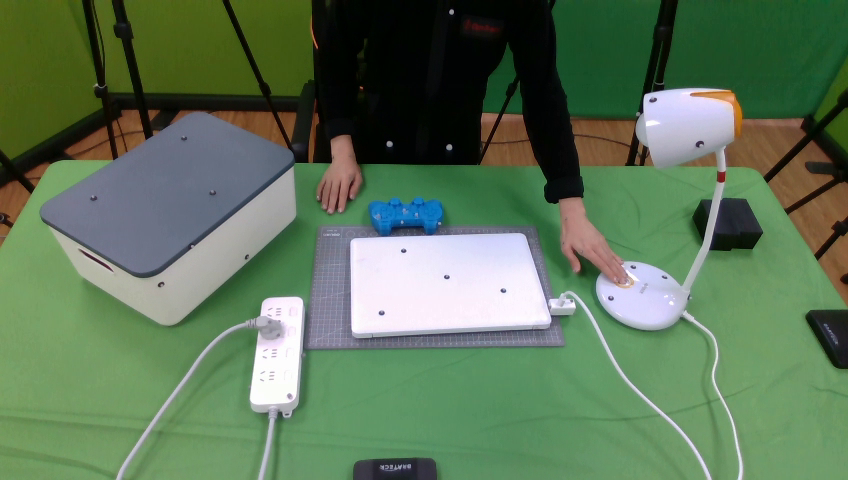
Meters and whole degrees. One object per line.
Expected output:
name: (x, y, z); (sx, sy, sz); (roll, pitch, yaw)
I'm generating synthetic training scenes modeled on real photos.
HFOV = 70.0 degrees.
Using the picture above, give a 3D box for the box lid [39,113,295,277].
box lid: (-0.434, -0.096, 1.056); (0.262, 0.015, 0.370); (25, 48, 18)

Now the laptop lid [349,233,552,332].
laptop lid: (0.040, 0.071, 1.118); (0.357, 0.013, 0.240); (-1, 44, -5)

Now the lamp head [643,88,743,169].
lamp head: (0.379, -0.161, 0.852); (0.122, 0.113, 0.112); (-4, 42, 25)

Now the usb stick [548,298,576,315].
usb stick: (0.240, 0.119, 1.086); (0.059, 0.027, 0.021); (-2, 52, -2)

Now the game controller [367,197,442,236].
game controller: (-0.037, -0.057, 1.231); (0.155, 0.052, 0.096); (-2, 49, -5)

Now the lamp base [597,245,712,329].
lamp base: (0.418, 0.051, 1.071); (0.179, 0.181, 0.160); (22, 49, 13)

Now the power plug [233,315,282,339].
power plug: (-0.271, 0.144, 1.000); (0.072, 0.053, 0.035); (6, 46, 4)

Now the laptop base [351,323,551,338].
laptop base: (0.040, 0.081, 1.125); (0.355, 0.023, 0.234); (-2, 43, -6)

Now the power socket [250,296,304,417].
power socket: (-0.239, 0.182, 0.996); (0.072, 0.033, 0.225); (-2, 47, -5)

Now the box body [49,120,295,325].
box body: (-0.437, -0.046, 1.110); (0.253, 0.161, 0.363); (24, 49, 19)
